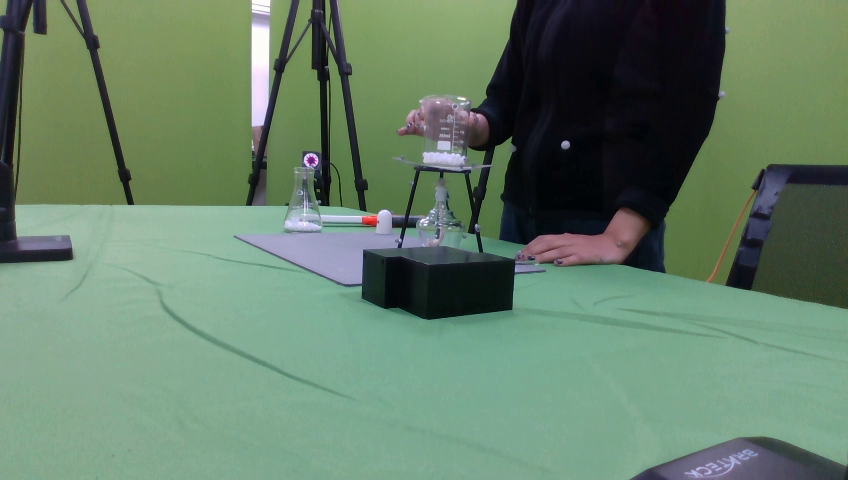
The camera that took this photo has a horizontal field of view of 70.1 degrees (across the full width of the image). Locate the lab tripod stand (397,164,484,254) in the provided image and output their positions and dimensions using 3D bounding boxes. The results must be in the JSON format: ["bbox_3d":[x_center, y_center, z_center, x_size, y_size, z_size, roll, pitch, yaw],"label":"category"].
[{"bbox_3d":[0.029,-0.049,0.930,0.148,0.131,0.148,4,7,0],"label":"lab tripod stand"}]

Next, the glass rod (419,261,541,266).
[{"bbox_3d":[0.080,0.032,0.808,0.201,0.008,0.008,1,6,-32],"label":"glass rod"}]

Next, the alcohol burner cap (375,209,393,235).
[{"bbox_3d":[-0.075,-0.035,1.150,0.034,0.048,0.034,3,7,0],"label":"alcohol burner cap"}]

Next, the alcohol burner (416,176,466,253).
[{"bbox_3d":[0.027,-0.039,0.934,0.078,0.119,0.078,2,9,0],"label":"alcohol burner"}]

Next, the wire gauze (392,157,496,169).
[{"bbox_3d":[0.032,-0.116,0.924,0.124,0.011,0.122,8,8,32],"label":"wire gauze"}]

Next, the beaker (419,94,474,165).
[{"bbox_3d":[0.031,-0.166,0.916,0.084,0.100,0.074,2,5,-9],"label":"beaker"}]

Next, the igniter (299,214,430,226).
[{"bbox_3d":[-0.123,-0.044,1.281,0.278,0.025,0.057,0,-2,-19],"label":"igniter"}]

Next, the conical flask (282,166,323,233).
[{"bbox_3d":[-0.225,-0.076,1.129,0.075,0.122,0.075,2,8,0],"label":"conical flask"}]
